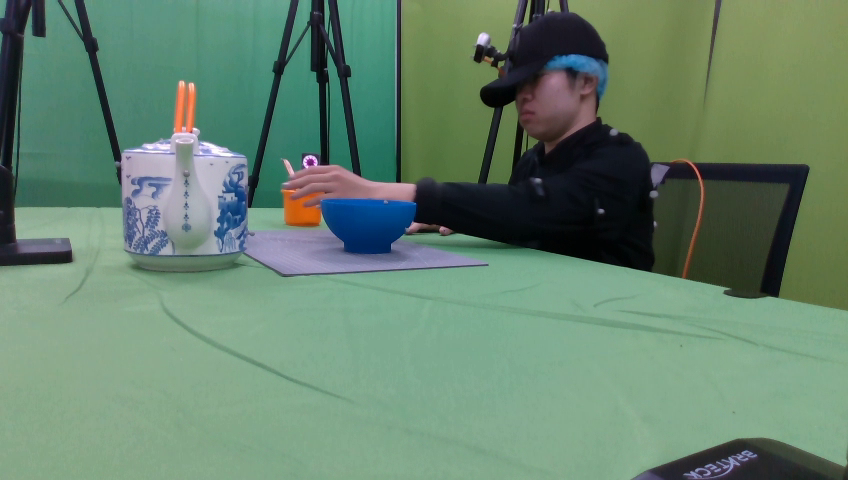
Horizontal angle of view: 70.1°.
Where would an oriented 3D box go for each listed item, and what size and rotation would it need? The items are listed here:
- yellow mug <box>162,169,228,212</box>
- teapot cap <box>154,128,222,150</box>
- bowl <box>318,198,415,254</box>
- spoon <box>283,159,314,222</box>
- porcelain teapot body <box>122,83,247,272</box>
[{"bbox_3d":[-0.366,-0.083,0.995,0.100,0.064,0.131,5,7,16],"label":"yellow mug"},{"bbox_3d":[-0.294,-0.117,0.754,0.085,0.044,0.085,4,9,0],"label":"teapot cap"},{"bbox_3d":[-0.089,-0.022,0.941,0.151,0.077,0.151,2,7,0],"label":"bowl"},{"bbox_3d":[-0.280,-0.111,1.323,0.042,0.193,0.021,1,-38,-35],"label":"spoon"},{"bbox_3d":[-0.286,-0.075,0.733,0.146,0.225,0.204,0,8,-24],"label":"porcelain teapot body"}]
